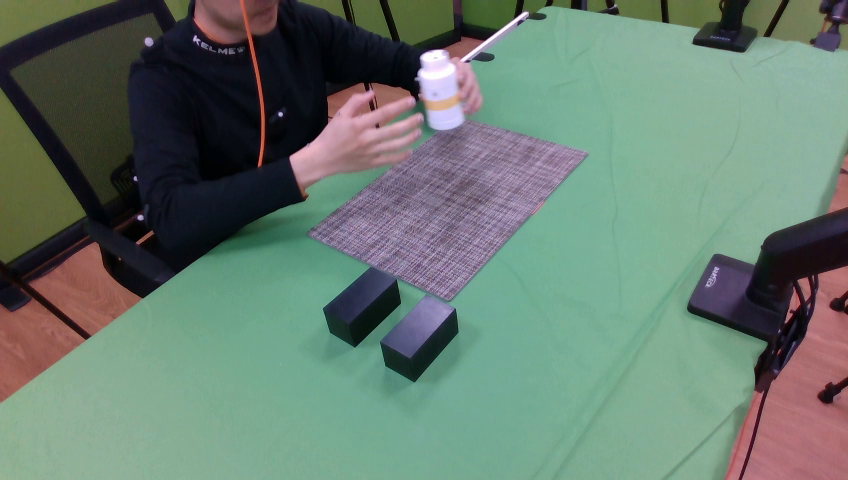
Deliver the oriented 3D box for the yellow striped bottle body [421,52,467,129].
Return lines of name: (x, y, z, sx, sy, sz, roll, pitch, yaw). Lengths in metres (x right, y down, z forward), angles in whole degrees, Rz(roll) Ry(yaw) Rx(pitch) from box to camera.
yellow striped bottle body: (0.033, -0.254, 1.017, 0.063, 0.121, 0.062, -9, 37, 7)

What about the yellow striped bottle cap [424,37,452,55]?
yellow striped bottle cap: (0.022, -0.313, 0.975, 0.044, 0.019, 0.044, -11, 27, 6)
